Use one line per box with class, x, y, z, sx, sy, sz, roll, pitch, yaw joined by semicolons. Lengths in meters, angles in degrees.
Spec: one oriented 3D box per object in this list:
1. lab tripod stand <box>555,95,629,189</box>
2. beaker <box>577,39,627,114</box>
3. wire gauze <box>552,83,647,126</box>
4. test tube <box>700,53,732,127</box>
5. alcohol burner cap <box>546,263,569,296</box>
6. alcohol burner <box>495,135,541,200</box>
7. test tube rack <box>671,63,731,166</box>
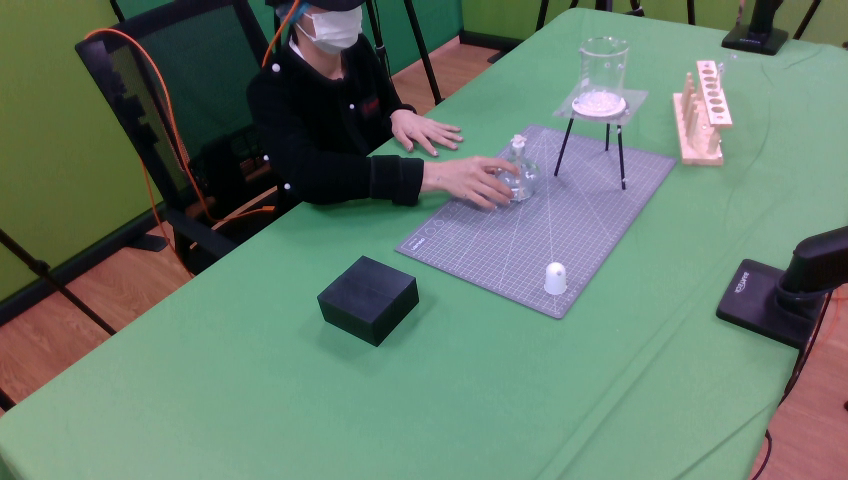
lab tripod stand;0.300;-0.174;1.045;0.148;0.132;0.147;-5;38;5
beaker;0.286;-0.264;0.976;0.073;0.101;0.084;25;49;33
wire gauze;0.293;-0.224;1.004;0.120;0.011;0.125;19;43;26
test tube;0.521;-0.265;1.081;0.017;0.151;0.017;-3;47;3
alcohol burner cap;0.191;0.053;0.862;0.034;0.048;0.033;-5;40;4
alcohol burner;0.160;-0.127;1.027;0.078;0.119;0.077;-3;41;3
test tube rack;0.513;-0.241;1.132;0.066;0.085;0.242;4;41;14
